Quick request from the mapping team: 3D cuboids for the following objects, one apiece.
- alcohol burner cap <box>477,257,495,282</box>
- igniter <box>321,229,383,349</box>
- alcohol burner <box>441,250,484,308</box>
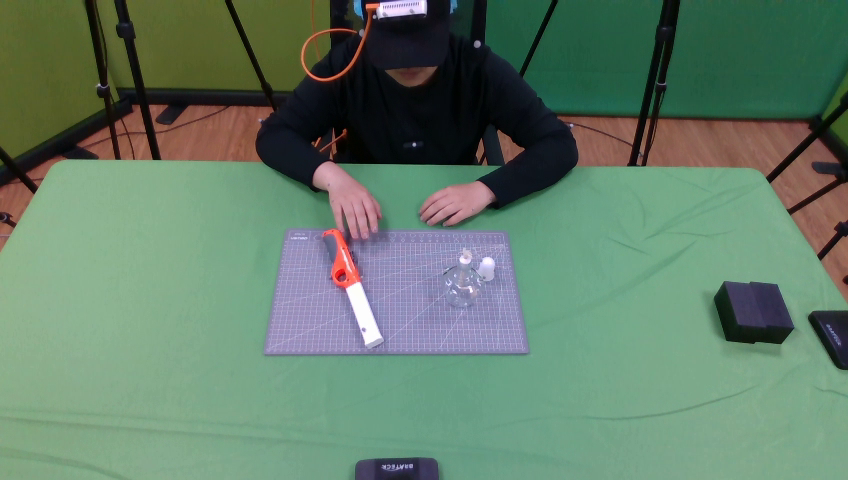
[{"bbox_3d":[0.118,0.053,1.140,0.034,0.048,0.033,2,45,-2],"label":"alcohol burner cap"},{"bbox_3d":[-0.134,0.078,1.102,0.057,0.025,0.274,-28,53,0],"label":"igniter"},{"bbox_3d":[0.069,0.064,1.075,0.078,0.120,0.077,1,45,-1],"label":"alcohol burner"}]
